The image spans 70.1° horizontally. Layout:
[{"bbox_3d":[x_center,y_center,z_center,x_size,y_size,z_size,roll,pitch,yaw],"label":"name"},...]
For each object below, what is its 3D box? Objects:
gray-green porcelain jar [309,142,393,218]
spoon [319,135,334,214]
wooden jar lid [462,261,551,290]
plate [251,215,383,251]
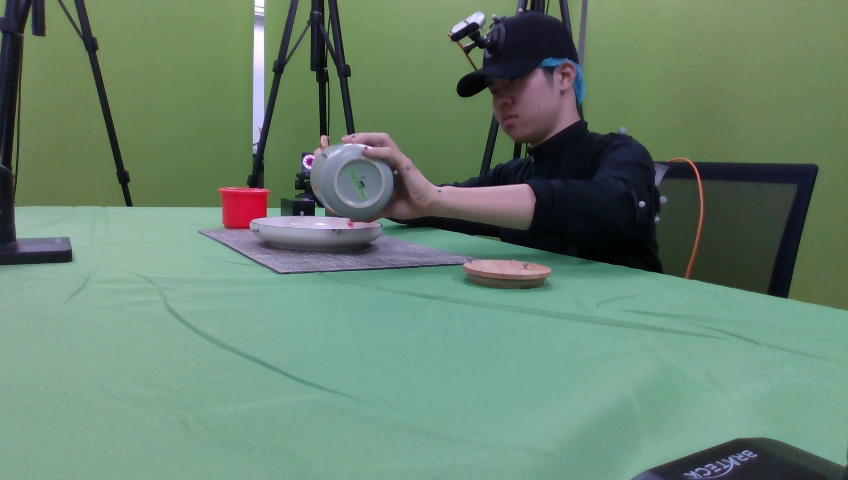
[{"bbox_3d":[-0.106,-0.087,0.868,0.106,0.106,0.126,0,9,-18],"label":"gray-green porcelain jar"},{"bbox_3d":[-0.161,-0.114,1.007,0.042,0.021,0.193,-4,44,-14],"label":"spoon"},{"bbox_3d":[0.100,0.043,0.742,0.108,0.020,0.108,2,6,0],"label":"wooden jar lid"},{"bbox_3d":[-0.170,-0.012,0.971,0.208,0.039,0.207,2,7,0],"label":"plate"}]
